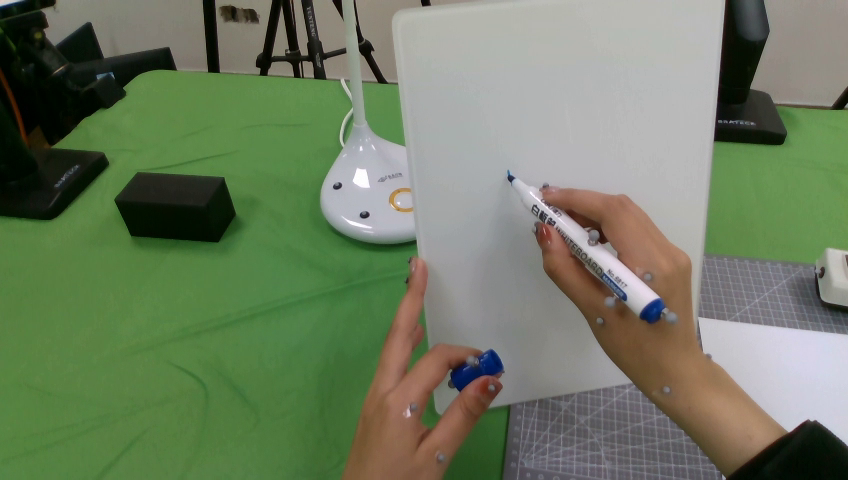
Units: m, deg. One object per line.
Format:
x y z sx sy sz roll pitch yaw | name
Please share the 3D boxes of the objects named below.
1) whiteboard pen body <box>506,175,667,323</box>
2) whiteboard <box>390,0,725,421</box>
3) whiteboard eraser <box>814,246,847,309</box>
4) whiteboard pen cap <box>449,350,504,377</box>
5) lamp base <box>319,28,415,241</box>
0.091 -0.001 0.367 0.017 0.017 0.139 -22 48 -20 | whiteboard pen body
0.092 -0.038 0.492 0.217 0.307 0.142 -8 23 -5 | whiteboard
0.411 0.042 0.536 0.112 0.042 0.055 11 42 15 | whiteboard eraser
0.034 0.079 0.391 0.033 0.018 0.018 -6 36 33 | whiteboard pen cap
-0.049 -0.118 0.638 0.161 0.182 0.177 -28 45 -25 | lamp base
